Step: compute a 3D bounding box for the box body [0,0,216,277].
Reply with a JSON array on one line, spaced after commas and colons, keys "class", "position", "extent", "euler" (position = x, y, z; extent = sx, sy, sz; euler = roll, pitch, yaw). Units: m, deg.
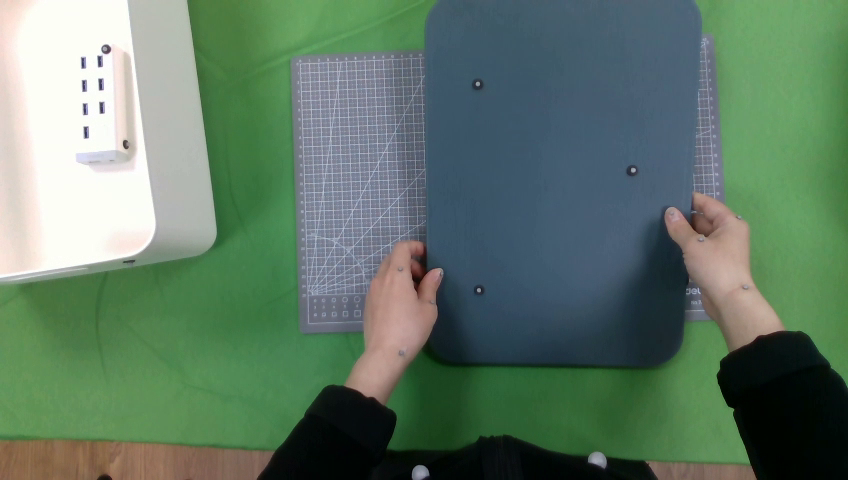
[{"class": "box body", "position": [-0.364, -0.150, 0.586], "extent": [0.254, 0.160, 0.363], "euler": [-9, 87, 2]}]

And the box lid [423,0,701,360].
[{"class": "box lid", "position": [0.129, -0.057, 0.602], "extent": [0.263, 0.015, 0.372], "euler": [0, 99, 3]}]

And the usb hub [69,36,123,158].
[{"class": "usb hub", "position": [-0.349, -0.152, 0.645], "extent": [0.049, 0.025, 0.125], "euler": [-3, 86, 4]}]
